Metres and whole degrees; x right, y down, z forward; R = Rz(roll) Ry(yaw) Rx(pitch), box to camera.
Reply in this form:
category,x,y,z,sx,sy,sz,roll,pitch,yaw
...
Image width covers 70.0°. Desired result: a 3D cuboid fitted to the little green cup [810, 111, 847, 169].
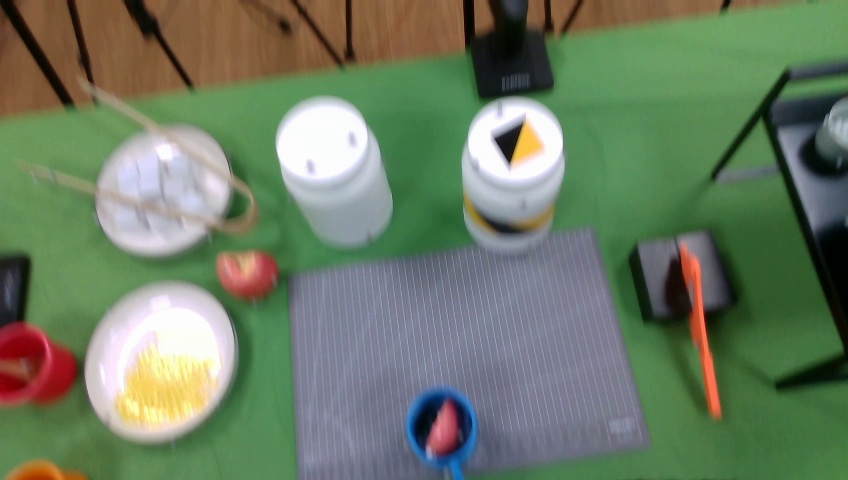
category,x,y,z,sx,sy,sz,roll,pitch,yaw
little green cup,0.479,-0.112,0.694,0.061,0.039,0.061,-2,68,4

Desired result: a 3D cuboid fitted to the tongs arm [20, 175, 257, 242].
category,x,y,z,sx,sy,sz,roll,pitch,yaw
tongs arm,-0.428,-0.057,0.896,0.383,0.027,0.050,17,66,13

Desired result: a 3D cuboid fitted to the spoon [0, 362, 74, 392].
category,x,y,z,sx,sy,sz,roll,pitch,yaw
spoon,-0.568,0.171,0.790,0.195,0.021,0.041,17,60,-36

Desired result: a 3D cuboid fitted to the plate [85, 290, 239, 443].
category,x,y,z,sx,sy,sz,roll,pitch,yaw
plate,-0.354,0.172,0.832,0.209,0.038,0.207,-1,68,4

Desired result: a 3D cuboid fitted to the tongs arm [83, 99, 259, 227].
category,x,y,z,sx,sy,sz,roll,pitch,yaw
tongs arm,-0.391,-0.127,0.924,0.385,0.028,0.028,31,67,18

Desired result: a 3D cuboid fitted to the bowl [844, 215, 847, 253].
category,x,y,z,sx,sy,sz,roll,pitch,yaw
bowl,0.501,0.008,0.623,0.151,0.077,0.150,-1,67,4

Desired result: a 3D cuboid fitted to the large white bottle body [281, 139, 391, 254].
category,x,y,z,sx,sy,sz,roll,pitch,yaw
large white bottle body,-0.120,-0.071,0.836,0.130,0.186,0.129,-2,67,4

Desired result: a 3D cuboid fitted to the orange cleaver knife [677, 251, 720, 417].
category,x,y,z,sx,sy,sz,roll,pitch,yaw
orange cleaver knife,0.351,0.119,0.780,0.012,0.077,0.211,-11,94,9

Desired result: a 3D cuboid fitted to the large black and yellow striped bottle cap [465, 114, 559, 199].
category,x,y,z,sx,sy,sz,roll,pitch,yaw
large black and yellow striped bottle cap,0.107,-0.103,0.741,0.115,0.019,0.114,-1,67,3

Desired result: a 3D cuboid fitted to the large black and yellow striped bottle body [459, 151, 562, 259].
category,x,y,z,sx,sy,sz,roll,pitch,yaw
large black and yellow striped bottle body,0.114,-0.067,0.816,0.131,0.185,0.129,-2,65,4

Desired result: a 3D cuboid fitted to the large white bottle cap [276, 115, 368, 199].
category,x,y,z,sx,sy,sz,roll,pitch,yaw
large white bottle cap,-0.127,-0.104,0.757,0.115,0.018,0.114,-2,67,4

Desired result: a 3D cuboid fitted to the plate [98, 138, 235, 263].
category,x,y,z,sx,sy,sz,roll,pitch,yaw
plate,-0.389,-0.058,0.929,0.207,0.039,0.206,-1,68,3

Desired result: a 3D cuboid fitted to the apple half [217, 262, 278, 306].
category,x,y,z,sx,sy,sz,roll,pitch,yaw
apple half,-0.246,0.066,0.849,0.081,0.075,0.053,-4,71,-2

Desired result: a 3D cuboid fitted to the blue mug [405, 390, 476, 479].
category,x,y,z,sx,sy,sz,roll,pitch,yaw
blue mug,0.027,0.248,0.734,0.082,0.106,0.115,-18,67,-3

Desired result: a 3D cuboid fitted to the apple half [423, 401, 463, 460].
category,x,y,z,sx,sy,sz,roll,pitch,yaw
apple half,0.031,0.236,0.733,0.032,0.082,0.081,22,71,20
